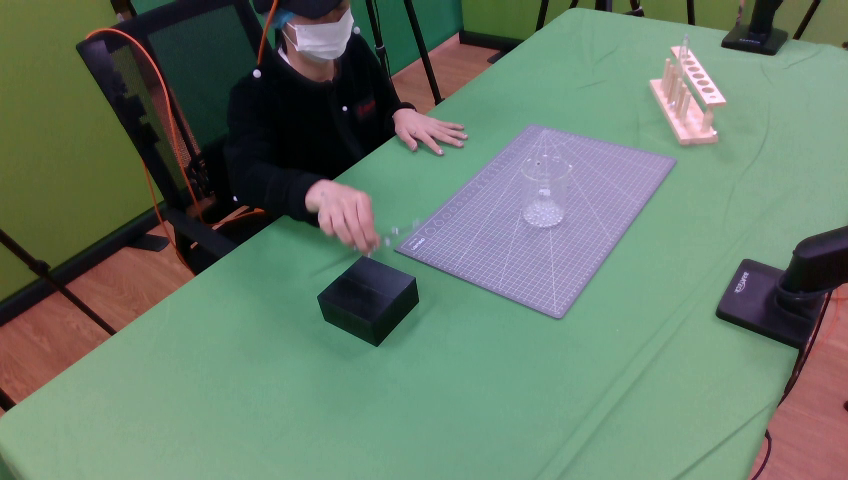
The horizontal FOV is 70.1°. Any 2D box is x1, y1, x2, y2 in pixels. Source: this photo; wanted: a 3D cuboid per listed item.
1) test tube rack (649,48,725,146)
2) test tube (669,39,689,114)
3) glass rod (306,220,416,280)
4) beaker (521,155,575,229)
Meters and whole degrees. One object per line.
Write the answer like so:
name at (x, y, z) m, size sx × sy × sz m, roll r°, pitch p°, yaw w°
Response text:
test tube rack at (0.508, -0.285, 1.186) m, size 0.067 × 0.085 × 0.241 m, roll -4°, pitch 40°, yaw 6°
test tube at (0.482, -0.308, 1.146) m, size 0.017 × 0.151 × 0.017 m, roll -5°, pitch 42°, yaw 5°
glass rod at (-0.089, 0.016, 0.810) m, size 0.199 × 0.008 × 0.008 m, roll -27°, pitch 31°, yaw 28°
beaker at (0.197, -0.075, 0.969) m, size 0.084 × 0.101 × 0.073 m, roll -6°, pitch 40°, yaw 2°
